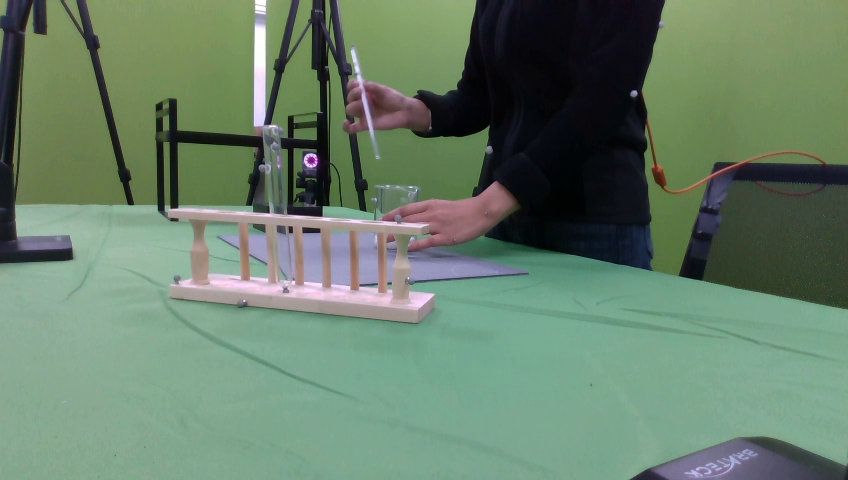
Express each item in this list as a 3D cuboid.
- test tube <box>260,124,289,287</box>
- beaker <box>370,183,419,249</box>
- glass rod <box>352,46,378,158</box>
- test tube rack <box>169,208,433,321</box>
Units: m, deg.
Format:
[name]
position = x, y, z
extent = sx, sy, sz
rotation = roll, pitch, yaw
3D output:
[test tube]
position = -0.137, -0.031, 0.556
extent = 0.017, 0.150, 0.017
rotation = -3, 6, 1
[beaker]
position = -0.044, -0.038, 0.954
extent = 0.074, 0.100, 0.083
rotation = -5, 11, -41
[glass rod]
position = -0.097, -0.226, 0.982
extent = 0.008, 0.199, 0.008
rotation = -12, -12, -2
[test tube rack]
position = -0.115, 0.018, 0.574
extent = 0.242, 0.085, 0.067
rotation = 4, 8, 13
